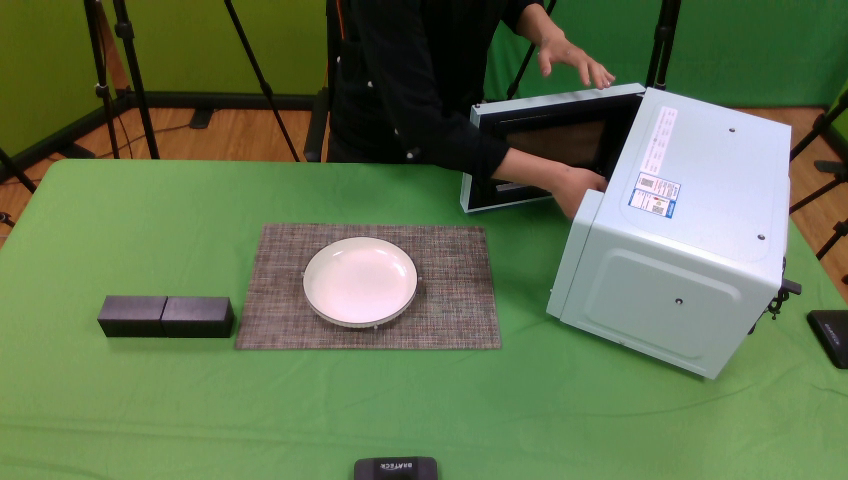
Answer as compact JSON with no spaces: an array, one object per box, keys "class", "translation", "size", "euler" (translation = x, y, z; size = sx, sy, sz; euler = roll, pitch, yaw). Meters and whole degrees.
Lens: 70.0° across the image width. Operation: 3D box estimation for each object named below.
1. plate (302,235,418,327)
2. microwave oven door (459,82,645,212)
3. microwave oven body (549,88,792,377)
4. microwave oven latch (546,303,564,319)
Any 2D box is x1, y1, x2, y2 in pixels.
[{"class":"plate","translation":[-0.114,0.077,1.098],"size":[0.208,0.039,0.206],"euler":[2,46,-2]},{"class":"microwave oven door","translation":[0.253,-0.185,1.217],"size":[0.356,0.245,0.039],"euler":[-11,48,-14]},{"class":"microwave oven body","translation":[0.456,-0.028,1.088],"size":[0.325,0.261,0.440],"euler":[20,47,16]},{"class":"microwave oven latch","translation":[0.242,0.102,1.081],"size":[0.030,0.029,0.079],"euler":[21,48,17]}]
